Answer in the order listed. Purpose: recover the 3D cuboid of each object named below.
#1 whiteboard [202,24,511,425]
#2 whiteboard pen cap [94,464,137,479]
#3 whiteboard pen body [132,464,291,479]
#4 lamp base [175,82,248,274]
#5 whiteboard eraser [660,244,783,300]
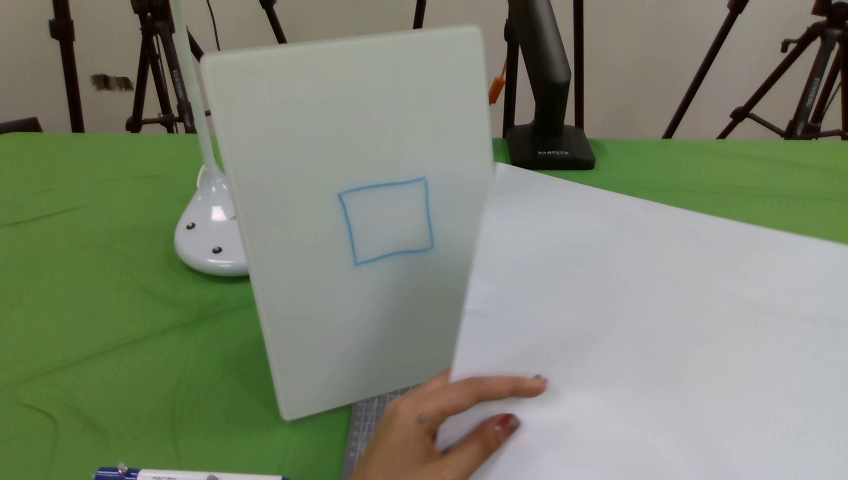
[{"bbox_3d":[-0.056,-0.025,0.561,0.218,0.307,0.142,-12,19,-14],"label":"whiteboard"},{"bbox_3d":[-0.232,0.180,0.463,0.033,0.018,0.018,2,36,-2],"label":"whiteboard pen cap"},{"bbox_3d":[-0.173,0.182,0.463,0.141,0.017,0.017,4,36,0],"label":"whiteboard pen body"},{"bbox_3d":[-0.224,-0.079,0.690,0.177,0.182,0.160,27,44,35],"label":"lamp base"},{"bbox_3d":[0.318,0.035,0.651,0.113,0.042,0.055,-4,38,-6],"label":"whiteboard eraser"}]
